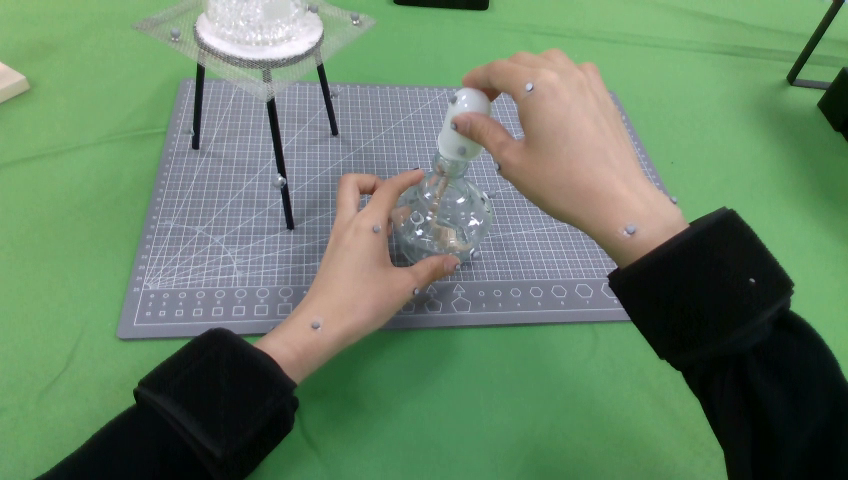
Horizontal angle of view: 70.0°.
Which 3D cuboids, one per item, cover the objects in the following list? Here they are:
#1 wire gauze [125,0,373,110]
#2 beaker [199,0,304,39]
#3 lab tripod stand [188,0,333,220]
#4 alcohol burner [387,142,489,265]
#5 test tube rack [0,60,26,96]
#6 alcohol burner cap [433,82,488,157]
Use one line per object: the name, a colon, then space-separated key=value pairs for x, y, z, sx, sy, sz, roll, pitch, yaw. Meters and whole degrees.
wire gauze: x=-0.118 y=-0.153 z=0.424 sx=0.124 sy=0.011 sz=0.121 roll=32 pitch=55 yaw=13
beaker: x=-0.117 y=-0.189 z=0.390 sx=0.073 sy=0.101 sz=0.084 roll=37 pitch=56 yaw=20
lab tripod stand: x=-0.123 y=-0.110 z=0.473 sx=0.149 sy=0.132 sz=0.147 roll=6 pitch=49 yaw=-6
alcohol burner: x=0.013 y=-0.037 z=0.444 sx=0.078 sy=0.120 sz=0.077 roll=5 pitch=47 yaw=-5
test tube rack: x=-0.453 y=-0.115 z=0.462 sx=0.066 sy=0.086 sz=0.241 roll=29 pitch=51 yaw=16
alcohol burner cap: x=0.026 y=-0.081 z=0.397 sx=0.034 sy=0.048 sz=0.033 roll=5 pitch=54 yaw=-6
